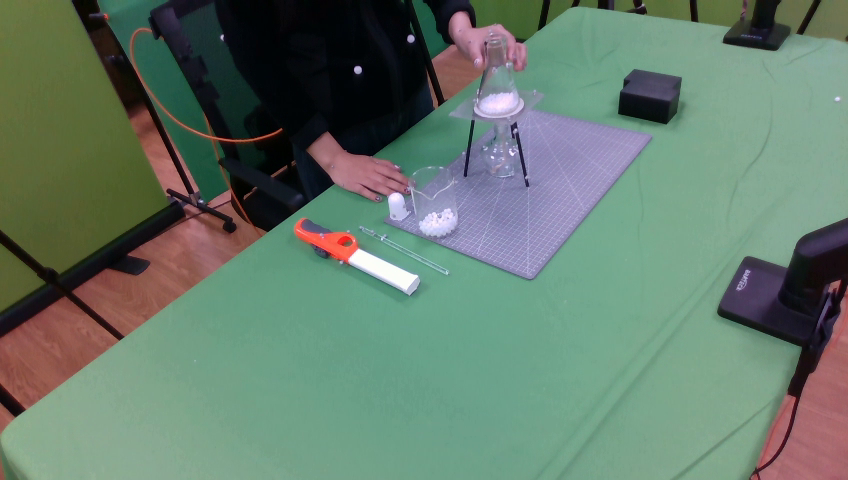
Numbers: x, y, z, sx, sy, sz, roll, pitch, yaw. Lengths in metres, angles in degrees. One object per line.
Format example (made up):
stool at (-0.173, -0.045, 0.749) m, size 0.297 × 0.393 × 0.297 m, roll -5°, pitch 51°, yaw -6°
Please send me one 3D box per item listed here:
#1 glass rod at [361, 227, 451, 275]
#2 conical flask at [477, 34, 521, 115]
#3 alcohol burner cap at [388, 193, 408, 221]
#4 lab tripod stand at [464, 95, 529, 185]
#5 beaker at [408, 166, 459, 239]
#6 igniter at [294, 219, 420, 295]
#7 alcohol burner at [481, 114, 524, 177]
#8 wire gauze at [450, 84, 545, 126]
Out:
glass rod at (-0.033, 0.015, 0.985) m, size 0.198 × 0.008 × 0.008 m, roll 26°, pitch 52°, yaw 34°
conical flask at (0.121, -0.275, 0.999) m, size 0.075 × 0.122 × 0.075 m, roll -5°, pitch 40°, yaw 5°
alcohol burner cap at (-0.047, -0.059, 1.043) m, size 0.034 × 0.048 × 0.033 m, roll -5°, pitch 39°, yaw 5°
lab tripod stand at (0.138, -0.182, 1.082) m, size 0.148 × 0.132 × 0.147 m, roll -6°, pitch 38°, yaw 6°
beaker at (0.018, -0.057, 0.984) m, size 0.074 × 0.101 × 0.083 m, roll -6°, pitch 41°, yaw 5°
igniter at (-0.118, 0.022, 0.977) m, size 0.274 × 0.025 × 0.057 m, roll 24°, pitch 60°, yaw 34°
alcohol burner at (0.141, -0.174, 1.087) m, size 0.078 × 0.119 × 0.077 m, roll -4°, pitch 40°, yaw 4°
wire gauze at (0.126, -0.232, 1.041) m, size 0.120 × 0.011 × 0.125 m, roll 17°, pitch 48°, yaw 31°
